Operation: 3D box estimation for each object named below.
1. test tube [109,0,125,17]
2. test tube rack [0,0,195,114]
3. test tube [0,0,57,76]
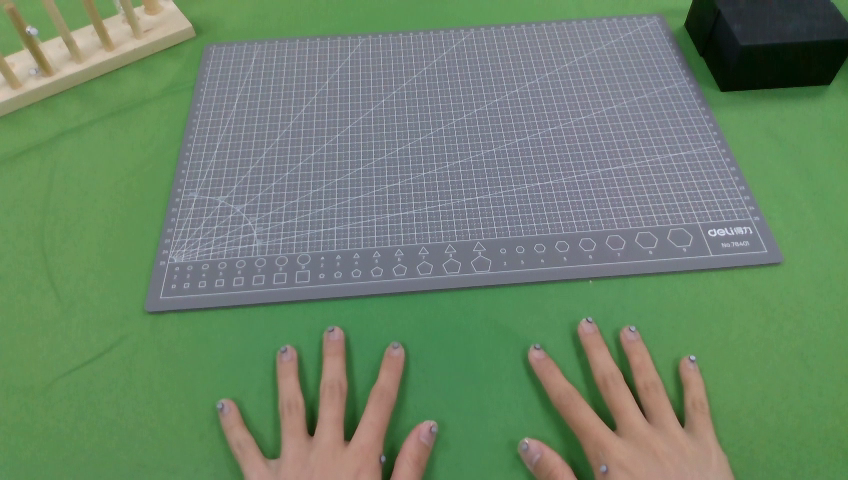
[{"bbox_3d":[-0.300,-0.268,0.537,0.017,0.152,0.017,-3,51,4],"label":"test tube"},{"bbox_3d":[-0.346,-0.191,0.544,0.242,0.086,0.066,-31,59,-19],"label":"test tube rack"},{"bbox_3d":[-0.348,-0.200,0.496,0.017,0.152,0.017,-1,52,2],"label":"test tube"}]
